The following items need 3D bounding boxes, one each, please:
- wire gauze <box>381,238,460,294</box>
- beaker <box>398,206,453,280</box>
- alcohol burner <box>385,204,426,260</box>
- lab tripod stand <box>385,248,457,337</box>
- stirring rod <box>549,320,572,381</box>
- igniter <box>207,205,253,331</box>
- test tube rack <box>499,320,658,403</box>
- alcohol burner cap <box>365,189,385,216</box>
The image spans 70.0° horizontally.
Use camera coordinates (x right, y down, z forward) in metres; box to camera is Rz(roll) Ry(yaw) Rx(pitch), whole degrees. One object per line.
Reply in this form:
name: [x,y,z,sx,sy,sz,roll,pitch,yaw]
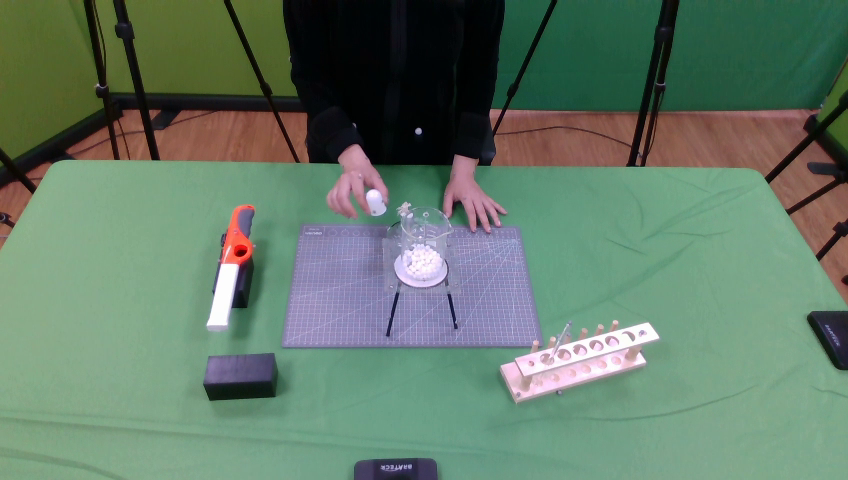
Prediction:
wire gauze: [-0.007,0.042,0.985,0.125,0.011,0.120,-1,43,-2]
beaker: [0.000,0.008,0.950,0.084,0.101,0.073,10,45,6]
alcohol burner: [-0.035,-0.020,1.147,0.078,0.120,0.077,1,46,-1]
lab tripod stand: [-0.010,0.087,1.032,0.148,0.132,0.147,1,45,-1]
stirring rod: [0.202,0.167,0.901,0.006,0.177,0.014,-17,54,-11]
igniter: [-0.339,0.038,1.066,0.057,0.025,0.274,2,48,-6]
test tube rack: [0.252,0.187,0.994,0.243,0.085,0.066,-12,48,-15]
alcohol burner cap: [-0.090,-0.069,1.082,0.034,0.048,0.033,-7,44,7]
